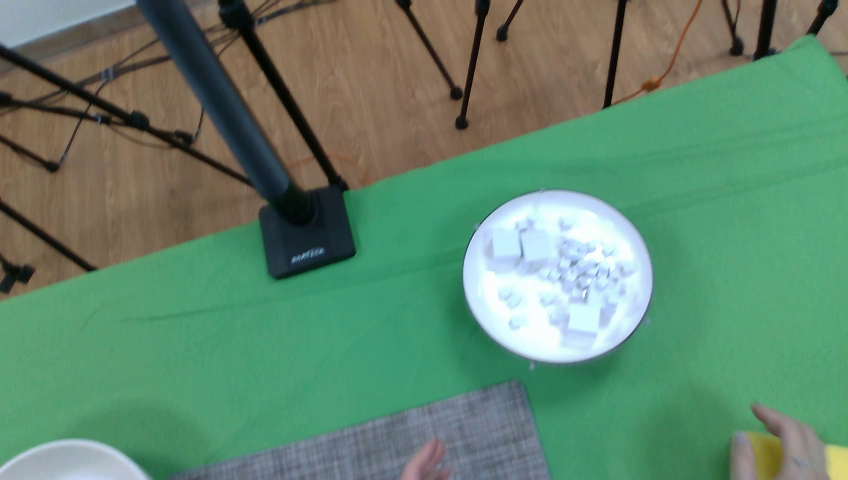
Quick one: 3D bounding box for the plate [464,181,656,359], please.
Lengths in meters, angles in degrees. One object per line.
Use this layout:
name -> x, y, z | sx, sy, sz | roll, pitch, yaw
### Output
plate -> 0.150, 0.033, 0.683 | 0.207, 0.039, 0.206 | -3, 69, 8

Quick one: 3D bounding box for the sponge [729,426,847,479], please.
sponge -> 0.363, 0.296, 0.584 | 0.118, 0.061, 0.205 | 6, 71, 14

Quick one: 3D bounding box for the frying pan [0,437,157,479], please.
frying pan -> -0.383, 0.462, 0.637 | 0.307, 0.104, 0.483 | -19, 60, 5
